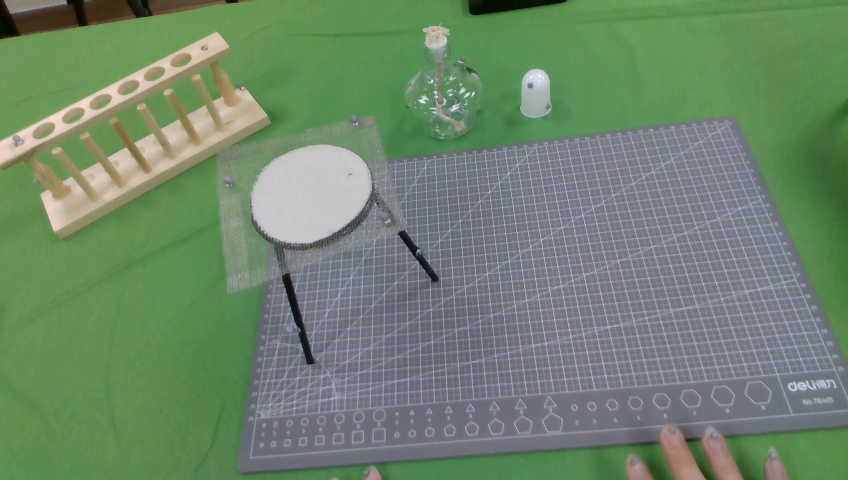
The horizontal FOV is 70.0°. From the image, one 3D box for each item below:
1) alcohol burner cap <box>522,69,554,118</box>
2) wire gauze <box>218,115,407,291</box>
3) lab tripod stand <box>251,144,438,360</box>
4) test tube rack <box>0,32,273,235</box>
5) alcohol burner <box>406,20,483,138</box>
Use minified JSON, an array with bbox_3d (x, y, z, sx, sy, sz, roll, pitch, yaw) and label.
[{"bbox_3d":[0.115,-0.150,0.612,0.034,0.048,0.033,-5,55,8],"label":"alcohol burner cap"},{"bbox_3d":[-0.081,-0.034,0.419,0.121,0.011,0.123,-16,56,-1],"label":"wire gauze"},{"bbox_3d":[-0.069,0.006,0.473,0.148,0.133,0.147,-4,57,6],"label":"lab tripod stand"},{"bbox_3d":[-0.290,-0.111,0.625,0.242,0.086,0.066,-32,57,-13],"label":"test tube rack"},{"bbox_3d":[0.018,-0.158,0.589,0.078,0.120,0.077,-5,52,6],"label":"alcohol burner"}]
